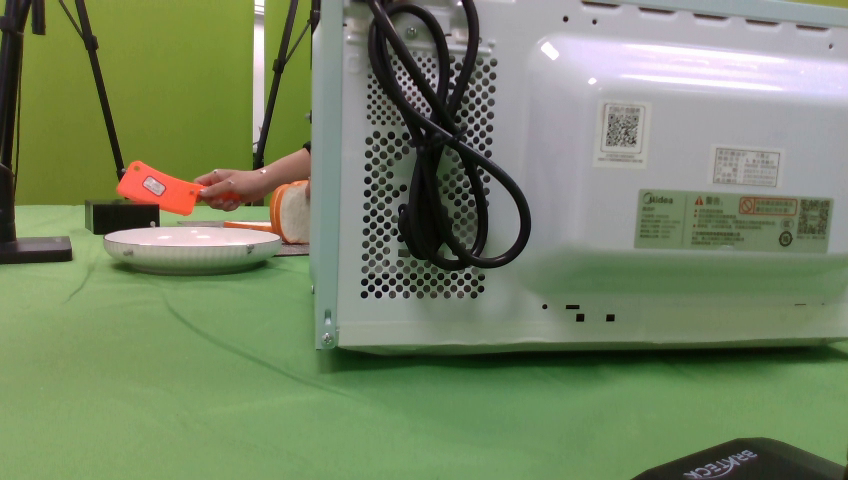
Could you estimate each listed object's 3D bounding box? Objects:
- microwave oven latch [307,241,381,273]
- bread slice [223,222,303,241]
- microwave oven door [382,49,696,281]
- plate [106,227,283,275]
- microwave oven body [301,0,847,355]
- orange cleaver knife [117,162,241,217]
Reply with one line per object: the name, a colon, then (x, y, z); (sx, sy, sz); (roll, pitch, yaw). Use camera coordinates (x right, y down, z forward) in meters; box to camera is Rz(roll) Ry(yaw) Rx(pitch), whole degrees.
microwave oven latch: (-0.086, 0.018, 0.656); (0.079, 0.029, 0.030); (2, 7, -10)
bread slice: (-0.275, -0.013, 1.041); (0.135, 0.018, 0.106); (8, -3, -42)
microwave oven door: (0.135, -0.077, 0.685); (0.357, 0.243, 0.039); (1, 8, -12)
plate: (-0.288, 0.013, 0.772); (0.208, 0.039, 0.207); (2, 7, 0)
microwave oven body: (0.120, -0.053, 0.535); (0.443, 0.260, 0.325); (2, 7, -11)
orange cleaver knife: (-0.444, -0.083, 1.110); (0.212, 0.077, 0.012); (16, -15, -35)
